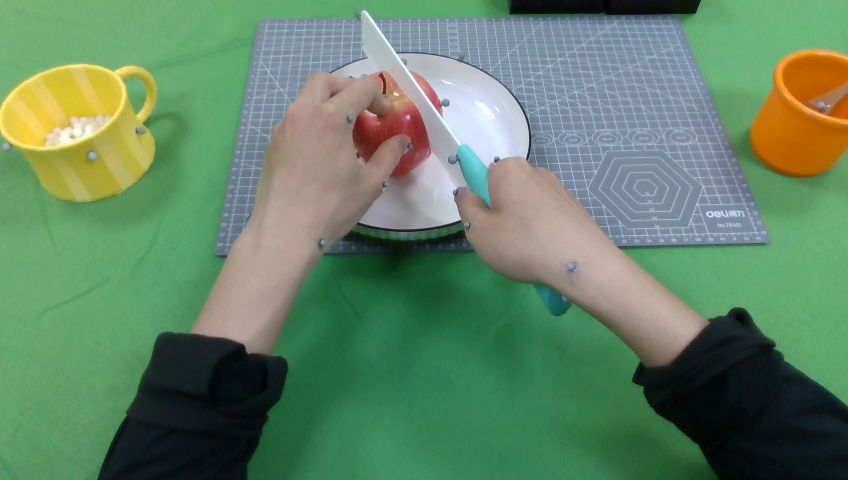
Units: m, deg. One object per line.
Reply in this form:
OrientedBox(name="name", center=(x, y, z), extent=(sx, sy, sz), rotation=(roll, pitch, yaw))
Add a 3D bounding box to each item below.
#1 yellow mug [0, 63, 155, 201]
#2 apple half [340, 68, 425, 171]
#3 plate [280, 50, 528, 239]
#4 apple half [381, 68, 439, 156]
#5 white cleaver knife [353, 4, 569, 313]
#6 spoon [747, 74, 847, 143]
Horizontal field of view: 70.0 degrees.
OrientedBox(name="yellow mug", center=(-0.284, -0.103, 0.519), extent=(0.099, 0.064, 0.130), rotation=(29, 60, 17))
OrientedBox(name="apple half", center=(-0.040, -0.092, 0.497), extent=(0.053, 0.075, 0.080), rotation=(-30, 64, -14))
OrientedBox(name="plate", center=(-0.017, -0.083, 0.523), extent=(0.209, 0.038, 0.207), rotation=(1, 56, -1))
OrientedBox(name="apple half", center=(-0.007, -0.110, 0.510), extent=(0.033, 0.082, 0.080), rotation=(-29, 61, -16))
OrientedBox(name="white cleaver knife", center=(0.019, -0.066, 0.451), extent=(0.021, 0.066, 0.284), rotation=(-28, 70, -10))
OrientedBox(name="spoon", center=(0.368, -0.140, 0.503), extent=(0.022, 0.194, 0.041), rotation=(26, 42, -37))
